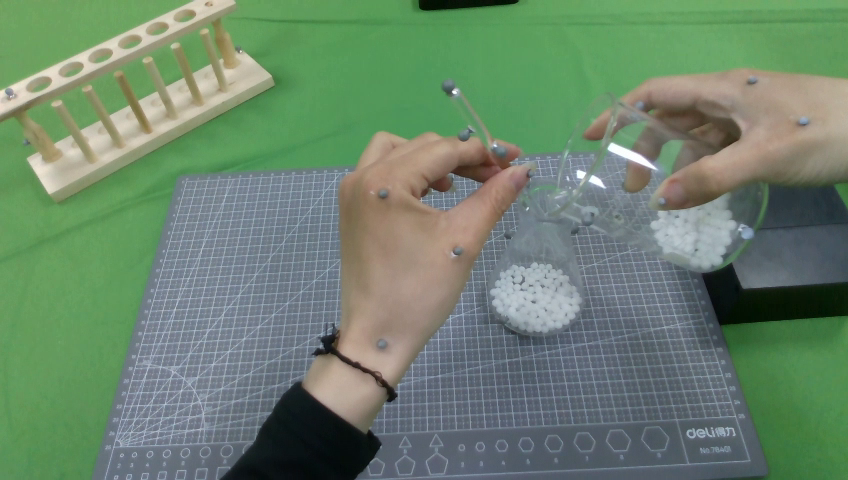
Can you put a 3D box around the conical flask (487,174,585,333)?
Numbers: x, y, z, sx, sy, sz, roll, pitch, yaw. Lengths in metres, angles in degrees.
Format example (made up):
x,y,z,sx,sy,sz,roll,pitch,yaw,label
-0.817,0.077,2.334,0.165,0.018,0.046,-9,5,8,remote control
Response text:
x,y,z,sx,sy,sz,roll,pitch,yaw,label
0.082,0.007,0.426,0.075,0.123,0.074,-2,54,3,conical flask

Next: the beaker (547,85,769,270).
x,y,z,sx,sy,sz,roll,pitch,yaw,label
0.131,-0.030,0.347,0.100,0.084,0.073,23,67,-5,beaker

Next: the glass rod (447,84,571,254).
x,y,z,sx,sy,sz,roll,pitch,yaw,label
0.057,-0.030,0.355,0.008,0.202,0.008,-12,62,24,glass rod

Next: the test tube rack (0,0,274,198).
x,y,z,sx,sy,sz,roll,pitch,yaw,label
-0.276,-0.148,0.591,0.242,0.086,0.066,-36,59,-20,test tube rack
